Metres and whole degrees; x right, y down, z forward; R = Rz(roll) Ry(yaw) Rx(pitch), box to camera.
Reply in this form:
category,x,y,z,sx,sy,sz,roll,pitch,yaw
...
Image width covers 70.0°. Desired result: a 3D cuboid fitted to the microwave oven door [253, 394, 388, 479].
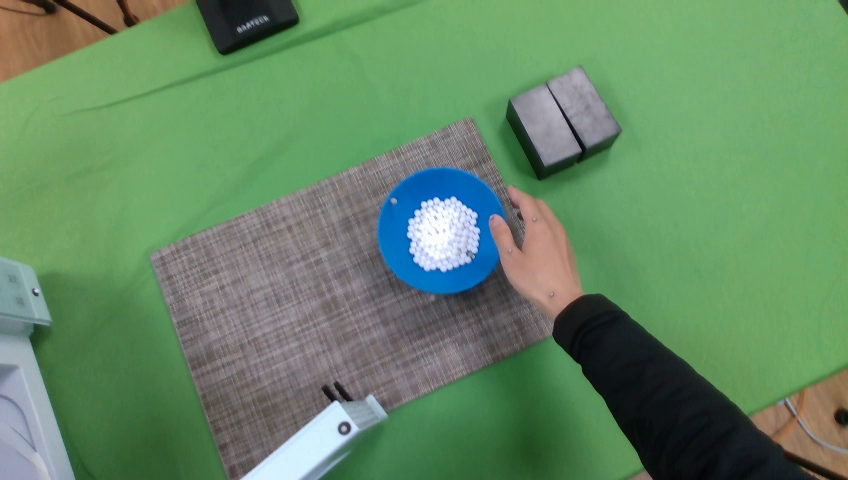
category,x,y,z,sx,sy,sz,roll,pitch,yaw
microwave oven door,-0.192,0.276,0.570,0.355,0.245,0.039,-39,78,-7

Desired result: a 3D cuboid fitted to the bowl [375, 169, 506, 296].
category,x,y,z,sx,sy,sz,roll,pitch,yaw
bowl,0.019,-0.002,0.726,0.151,0.077,0.150,0,77,2

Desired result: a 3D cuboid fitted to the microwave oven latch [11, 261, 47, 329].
category,x,y,z,sx,sy,sz,roll,pitch,yaw
microwave oven latch,-0.485,0.066,0.729,0.030,0.029,0.079,-25,78,-5

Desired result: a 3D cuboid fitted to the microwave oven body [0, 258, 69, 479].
category,x,y,z,sx,sy,sz,roll,pitch,yaw
microwave oven body,-0.546,0.261,0.587,0.326,0.261,0.439,-25,78,-5
